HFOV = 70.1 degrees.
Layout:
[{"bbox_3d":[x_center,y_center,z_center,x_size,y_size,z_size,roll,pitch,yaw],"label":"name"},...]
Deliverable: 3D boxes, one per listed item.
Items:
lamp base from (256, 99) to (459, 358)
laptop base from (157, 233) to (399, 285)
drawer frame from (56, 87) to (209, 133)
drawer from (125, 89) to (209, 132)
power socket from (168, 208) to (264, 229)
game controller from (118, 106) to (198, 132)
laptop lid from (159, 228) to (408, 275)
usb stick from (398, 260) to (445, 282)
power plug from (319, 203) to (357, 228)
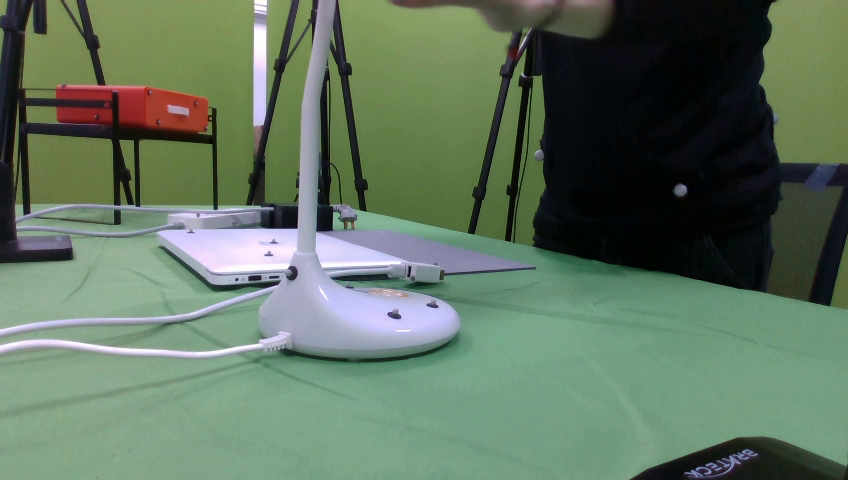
[{"bbox_3d":[-0.055,-0.013,0.463,0.160,0.180,0.180,6,11,27],"label":"lamp base"},{"bbox_3d":[-0.204,0.019,0.806,0.237,0.023,0.352,0,7,-33],"label":"laptop base"},{"bbox_3d":[-0.598,-0.269,1.261,0.213,0.082,0.202,4,8,14],"label":"drawer frame"},{"bbox_3d":[-0.595,-0.268,1.263,0.211,0.073,0.195,3,8,15],"label":"drawer"},{"bbox_3d":[-0.381,-0.038,1.128,0.072,0.032,0.227,4,8,16],"label":"power socket"},{"bbox_3d":[-0.555,-0.252,1.255,0.097,0.051,0.155,7,11,19],"label":"game controller"},{"bbox_3d":[-0.202,0.007,0.806,0.243,0.013,0.355,-1,8,-31],"label":"laptop lid"},{"bbox_3d":[-0.001,0.036,0.696,0.027,0.021,0.059,8,0,43],"label":"usb stick"},{"bbox_3d":[-0.170,-0.046,1.209,0.073,0.052,0.035,-6,-16,-7],"label":"power plug"}]
